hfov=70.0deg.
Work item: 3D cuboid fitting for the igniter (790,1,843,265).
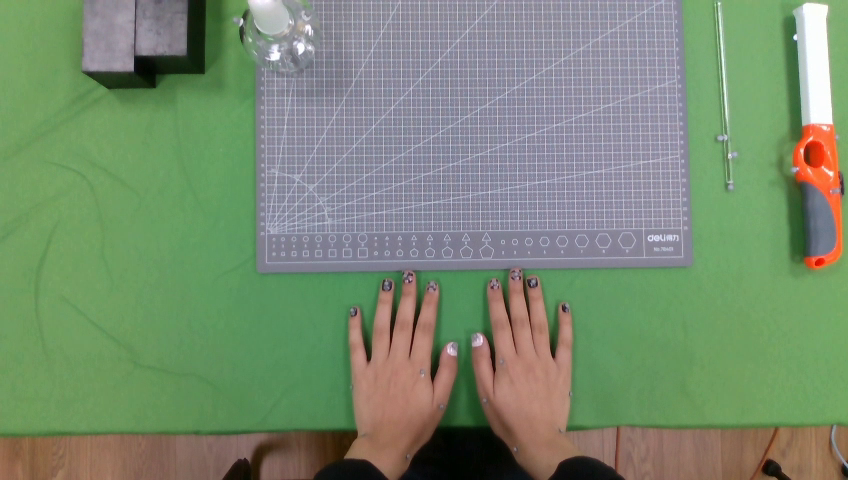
[{"bbox_3d":[0.408,-0.112,0.634,0.057,0.025,0.276,0,87,-12],"label":"igniter"}]

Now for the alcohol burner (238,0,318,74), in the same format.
[{"bbox_3d":[-0.143,-0.204,0.577,0.078,0.119,0.078,0,87,1],"label":"alcohol burner"}]

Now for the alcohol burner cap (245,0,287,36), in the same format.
[{"bbox_3d":[-0.143,-0.208,0.541,0.034,0.048,0.033,0,80,-2],"label":"alcohol burner cap"}]

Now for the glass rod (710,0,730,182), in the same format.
[{"bbox_3d":[0.315,-0.161,0.643,0.008,0.008,0.199,-3,87,-2],"label":"glass rod"}]
